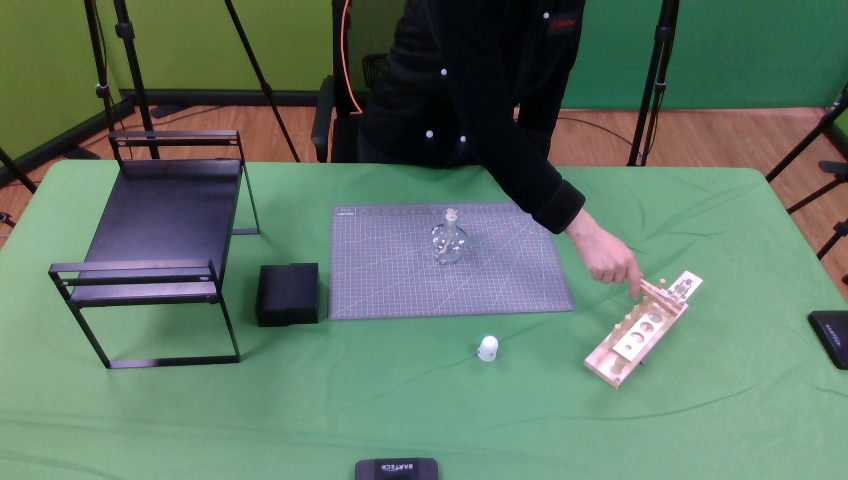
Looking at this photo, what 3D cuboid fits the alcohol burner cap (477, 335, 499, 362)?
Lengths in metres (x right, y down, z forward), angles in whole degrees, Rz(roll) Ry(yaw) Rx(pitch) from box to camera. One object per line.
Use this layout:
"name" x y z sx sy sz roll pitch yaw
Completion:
"alcohol burner cap" 0.109 0.180 1.017 0.034 0.048 0.033 4 50 -4

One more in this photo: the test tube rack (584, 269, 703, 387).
"test tube rack" 0.381 0.139 1.045 0.066 0.085 0.242 37 55 27

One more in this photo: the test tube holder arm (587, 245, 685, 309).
"test tube holder arm" 0.354 0.063 1.018 0.178 0.015 0.013 35 62 15

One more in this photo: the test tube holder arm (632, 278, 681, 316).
"test tube holder arm" 0.384 0.092 1.003 0.010 0.015 0.087 -39 70 -24

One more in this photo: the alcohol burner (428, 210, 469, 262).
"alcohol burner" 0.048 -0.014 1.146 0.078 0.119 0.077 3 48 -3

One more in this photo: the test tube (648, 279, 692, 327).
"test tube" 0.404 0.108 1.004 0.017 0.151 0.017 2 57 -4
